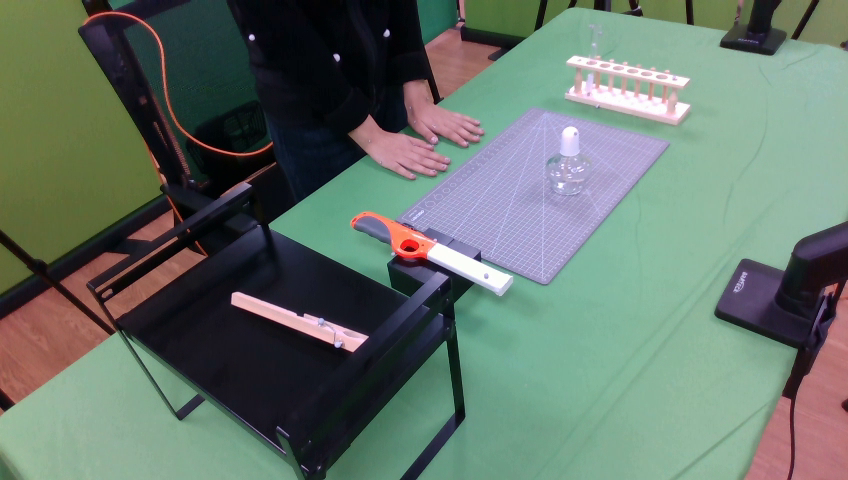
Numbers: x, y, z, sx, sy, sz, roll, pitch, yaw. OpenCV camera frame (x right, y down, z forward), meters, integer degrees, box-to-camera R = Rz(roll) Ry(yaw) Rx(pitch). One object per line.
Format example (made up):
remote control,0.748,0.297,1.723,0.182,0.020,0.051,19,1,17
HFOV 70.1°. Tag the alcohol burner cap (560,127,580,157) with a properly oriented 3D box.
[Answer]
alcohol burner cap,0.243,-0.165,1.001,0.034,0.048,0.033,-4,38,3

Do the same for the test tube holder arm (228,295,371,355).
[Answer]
test tube holder arm,-0.132,0.084,0.618,0.177,0.015,0.013,14,6,24

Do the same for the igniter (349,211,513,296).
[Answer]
igniter,0.003,0.013,0.881,0.274,0.025,0.057,24,52,28

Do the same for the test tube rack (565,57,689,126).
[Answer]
test tube rack,0.412,-0.311,1.230,0.240,0.085,0.067,24,49,32

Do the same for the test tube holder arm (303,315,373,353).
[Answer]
test tube holder arm,-0.089,0.094,0.604,0.087,0.015,0.010,14,6,26

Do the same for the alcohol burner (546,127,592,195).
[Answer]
alcohol burner,0.246,-0.137,1.024,0.078,0.119,0.077,-4,38,4

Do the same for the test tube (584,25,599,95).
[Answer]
test tube,0.339,-0.361,1.224,0.017,0.151,0.017,-4,45,4
